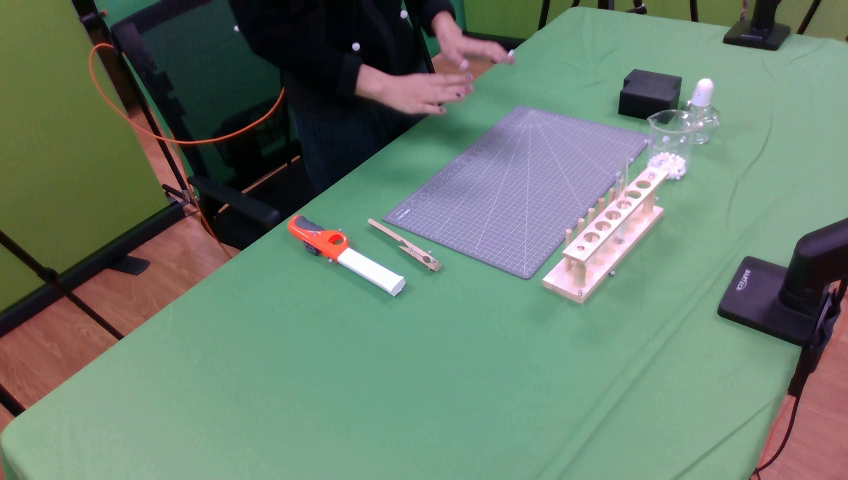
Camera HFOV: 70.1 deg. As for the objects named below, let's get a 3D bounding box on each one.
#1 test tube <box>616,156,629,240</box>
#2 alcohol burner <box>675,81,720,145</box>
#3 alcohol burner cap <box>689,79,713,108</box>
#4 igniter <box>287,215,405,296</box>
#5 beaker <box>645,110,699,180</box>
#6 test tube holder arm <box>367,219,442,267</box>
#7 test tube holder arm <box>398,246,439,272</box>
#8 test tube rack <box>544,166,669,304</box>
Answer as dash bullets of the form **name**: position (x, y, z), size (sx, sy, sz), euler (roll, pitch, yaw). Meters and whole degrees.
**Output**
- **test tube**: position (0.284, -0.057, 0.869), size (0.017, 0.151, 0.017), euler (-8, 42, 8)
- **alcohol burner**: position (0.497, -0.234, 1.094), size (0.078, 0.119, 0.077), euler (-5, 43, 5)
- **alcohol burner cap**: position (0.492, -0.262, 1.071), size (0.034, 0.048, 0.033), euler (-1, 45, 2)
- **igniter**: position (-0.137, 0.019, 0.980), size (0.274, 0.025, 0.057), euler (28, 62, 36)
- **beaker**: position (0.417, -0.160, 1.032), size (0.083, 0.101, 0.074), euler (25, 51, 35)
- **test tube holder arm**: position (-0.035, 0.003, 0.985), size (0.177, 0.015, 0.013), euler (32, 88, 40)
- **test tube holder arm**: position (-0.009, 0.027, 0.956), size (0.087, 0.015, 0.010), euler (34, 89, 40)
- **test tube rack**: position (0.274, -0.018, 0.903), size (0.066, 0.085, 0.243), euler (26, 51, 35)
